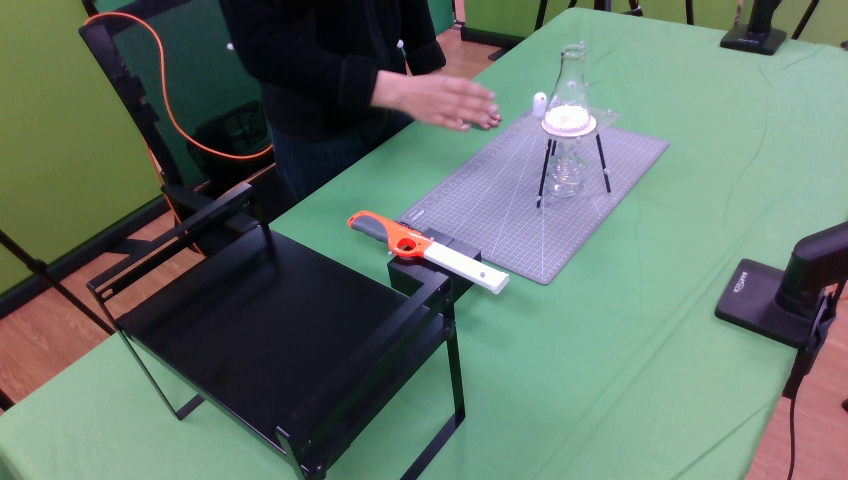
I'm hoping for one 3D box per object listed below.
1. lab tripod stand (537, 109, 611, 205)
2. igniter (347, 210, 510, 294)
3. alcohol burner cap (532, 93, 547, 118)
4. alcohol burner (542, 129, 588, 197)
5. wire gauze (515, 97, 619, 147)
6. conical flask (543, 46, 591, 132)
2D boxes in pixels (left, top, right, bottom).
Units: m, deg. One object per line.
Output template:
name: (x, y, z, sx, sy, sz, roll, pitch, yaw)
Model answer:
lab tripod stand: (0.244, -0.141, 1.014, 0.148, 0.132, 0.147, -3, 39, 3)
igniter: (-0.002, 0.012, 0.884, 0.274, 0.025, 0.057, 24, 53, 28)
alcohol burner cap: (0.240, -0.281, 1.251, 0.034, 0.048, 0.033, -4, 42, 4)
alcohol burner: (0.239, -0.133, 1.021, 0.078, 0.119, 0.077, -4, 38, 4)
wire gauze: (0.229, -0.189, 0.970, 0.120, 0.011, 0.125, 25, 51, 34)
conical flask: (0.225, -0.234, 0.932, 0.075, 0.122, 0.075, -3, 41, 3)
